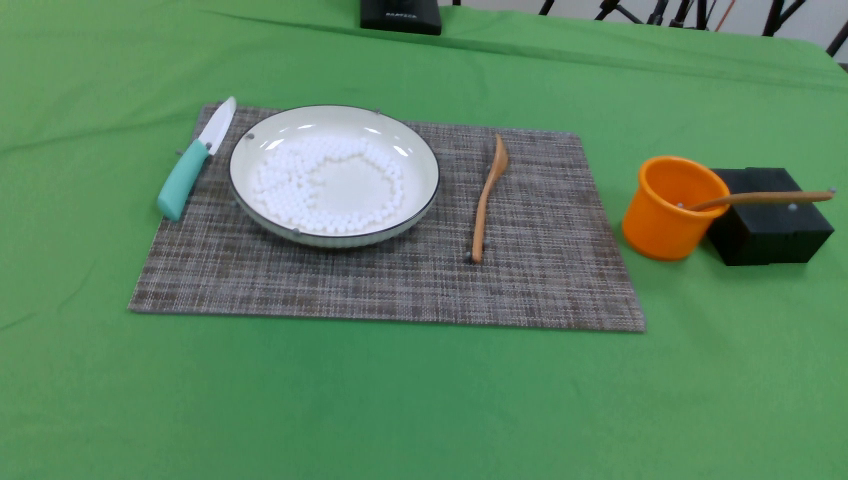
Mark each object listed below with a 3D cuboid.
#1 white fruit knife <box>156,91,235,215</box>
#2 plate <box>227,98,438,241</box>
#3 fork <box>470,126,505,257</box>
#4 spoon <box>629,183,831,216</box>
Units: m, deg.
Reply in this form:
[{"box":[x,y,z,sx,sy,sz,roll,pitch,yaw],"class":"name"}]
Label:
[{"box":[-0.234,-0.101,0.636,0.027,0.016,0.205,30,40,-21],"class":"white fruit knife"},{"box":[-0.090,-0.071,0.616,0.209,0.038,0.207,5,46,-5],"class":"plate"},{"box":[0.067,-0.057,0.644,0.018,0.028,0.206,-8,42,27],"class":"fork"},{"box":[0.283,-0.041,0.584,0.042,0.193,0.022,-23,98,-33],"class":"spoon"}]
